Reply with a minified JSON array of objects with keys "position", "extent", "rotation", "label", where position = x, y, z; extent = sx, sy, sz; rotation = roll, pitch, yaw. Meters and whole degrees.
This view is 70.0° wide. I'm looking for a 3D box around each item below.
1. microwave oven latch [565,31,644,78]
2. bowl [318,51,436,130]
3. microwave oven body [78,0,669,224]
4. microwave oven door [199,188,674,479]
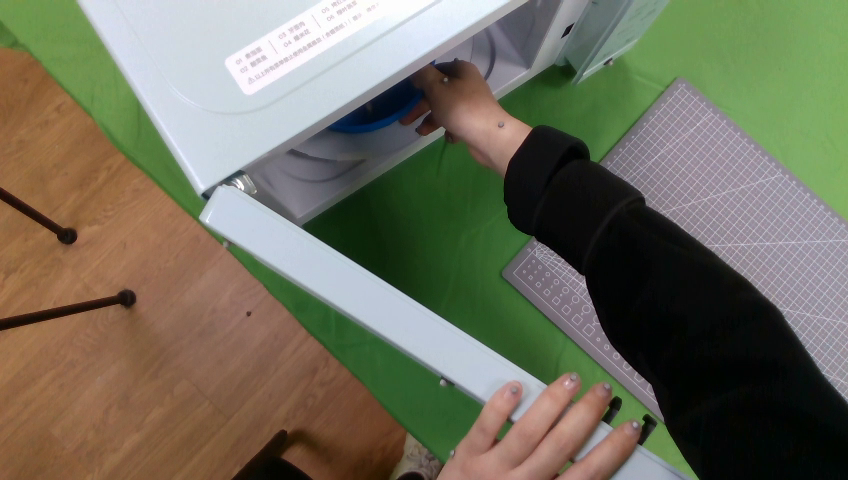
[{"position":[0.190,-0.204,0.639],"extent":[0.079,0.029,0.030],"rotation":[-31,85,-5],"label":"microwave oven latch"},{"position":[-0.064,-0.162,0.556],"extent":[0.151,0.077,0.150],"rotation":[0,79,-1],"label":"bowl"},{"position":[-0.038,-0.243,0.538],"extent":[0.442,0.260,0.325],"rotation":[-33,85,-5],"label":"microwave oven body"},{"position":[0.009,0.084,0.494],"extent":[0.355,0.244,0.039],"rotation":[32,82,2],"label":"microwave oven door"}]
